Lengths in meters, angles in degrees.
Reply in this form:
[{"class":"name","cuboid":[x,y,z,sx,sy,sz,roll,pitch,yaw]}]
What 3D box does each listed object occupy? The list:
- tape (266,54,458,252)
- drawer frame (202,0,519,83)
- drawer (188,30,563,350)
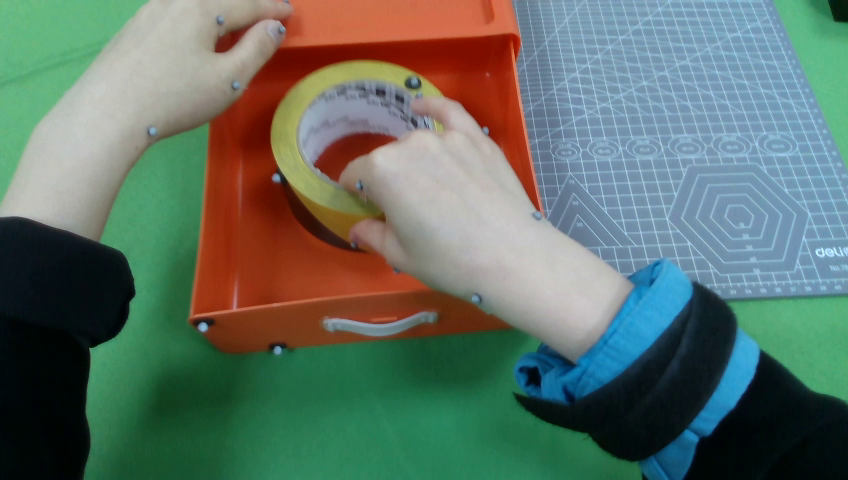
[{"class":"tape","cuboid":[-0.035,-0.054,0.376,0.117,0.053,0.116,2,66,-4]},{"class":"drawer frame","cuboid":[-0.049,-0.196,0.454,0.202,0.083,0.211,-6,62,-4]},{"class":"drawer","cuboid":[-0.032,-0.044,0.381,0.195,0.074,0.210,-5,64,-3]}]
